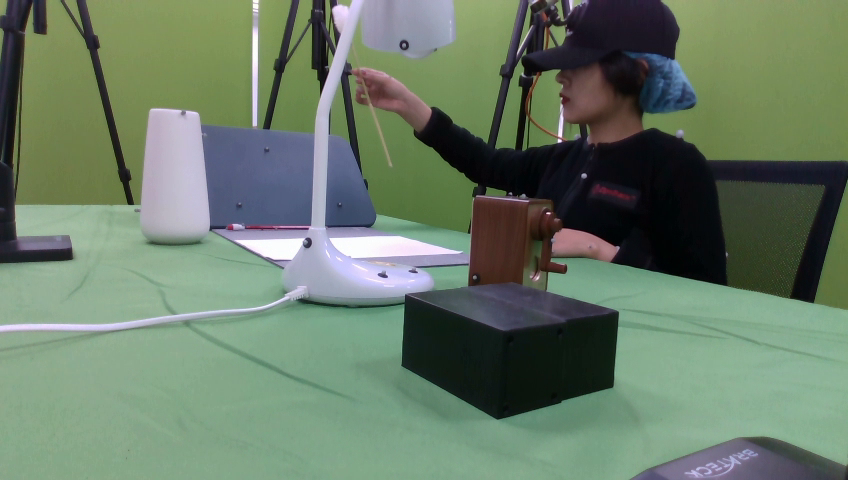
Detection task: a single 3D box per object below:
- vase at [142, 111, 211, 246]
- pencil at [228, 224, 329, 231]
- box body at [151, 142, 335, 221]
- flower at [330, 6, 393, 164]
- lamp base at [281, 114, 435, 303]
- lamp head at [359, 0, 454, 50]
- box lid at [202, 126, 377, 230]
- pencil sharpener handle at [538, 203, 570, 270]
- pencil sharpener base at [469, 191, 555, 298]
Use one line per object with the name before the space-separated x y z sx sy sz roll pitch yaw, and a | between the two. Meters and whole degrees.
vase | -0.378 -0.093 0.920 0.098 0.200 0.098 2 9 0
pencil | -0.266 -0.023 1.124 0.195 0.012 0.012 -1 8 -33
box body | -0.413 -0.135 1.379 0.366 0.160 0.253 -2 9 -31
flower | -0.129 -0.333 1.306 0.038 0.361 0.044 -20 -3 7
lamp base | -0.071 -0.035 0.614 0.160 0.180 0.180 5 10 27
lamp head | -0.024 -0.283 0.674 0.112 0.123 0.112 -3 38 3
box lid | -0.290 -0.128 1.238 0.373 0.262 0.015 -2 -35 -32
pencil sharpener handle | 0.137 -0.003 0.619 0.030 0.067 0.036 8 5 38
pencil sharpener base | 0.097 0.003 0.652 0.076 0.107 0.061 8 9 38
